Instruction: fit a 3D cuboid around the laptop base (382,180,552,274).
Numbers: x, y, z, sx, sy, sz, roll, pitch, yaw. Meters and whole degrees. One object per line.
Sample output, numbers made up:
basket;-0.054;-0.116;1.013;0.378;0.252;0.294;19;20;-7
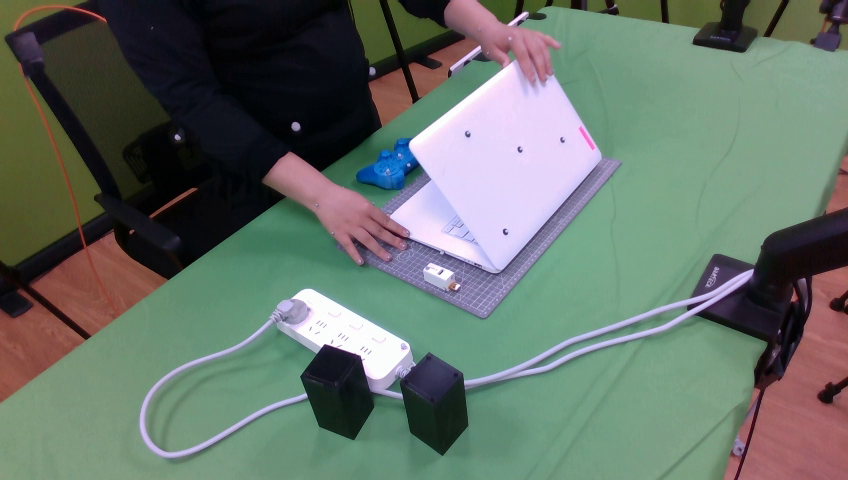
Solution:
laptop base;0.123;-0.081;1.049;0.233;0.023;0.355;20;47;33

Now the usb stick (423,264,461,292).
usb stick;0.028;0.058;0.889;0.058;0.027;0.021;24;47;31

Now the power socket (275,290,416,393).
power socket;-0.114;0.133;0.821;0.225;0.033;0.072;24;48;31

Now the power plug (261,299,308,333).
power plug;-0.193;0.109;0.830;0.073;0.053;0.035;-36;48;-23

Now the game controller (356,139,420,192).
game controller;-0.049;-0.149;1.136;0.096;0.052;0.155;27;51;28

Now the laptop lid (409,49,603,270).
laptop lid;0.150;-0.142;0.961;0.358;0.242;0.013;-41;11;-35
